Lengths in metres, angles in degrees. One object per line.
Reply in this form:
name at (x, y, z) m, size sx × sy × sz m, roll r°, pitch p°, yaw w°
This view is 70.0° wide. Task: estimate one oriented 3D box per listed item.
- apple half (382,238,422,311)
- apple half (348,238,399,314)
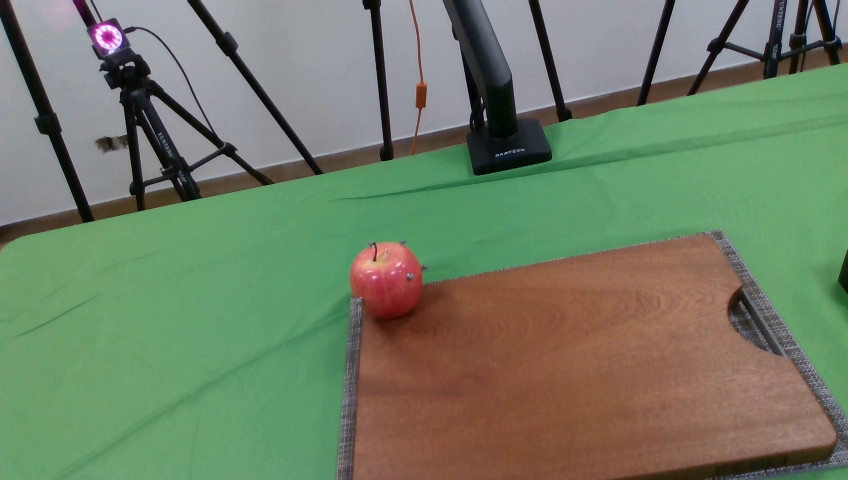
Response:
apple half at (-0.018, 0.037, 0.664) m, size 0.032 × 0.082 × 0.080 m, roll -8°, pitch 40°, yaw 15°
apple half at (-0.055, 0.042, 0.673) m, size 0.053 × 0.075 × 0.080 m, roll -7°, pitch 42°, yaw 15°
